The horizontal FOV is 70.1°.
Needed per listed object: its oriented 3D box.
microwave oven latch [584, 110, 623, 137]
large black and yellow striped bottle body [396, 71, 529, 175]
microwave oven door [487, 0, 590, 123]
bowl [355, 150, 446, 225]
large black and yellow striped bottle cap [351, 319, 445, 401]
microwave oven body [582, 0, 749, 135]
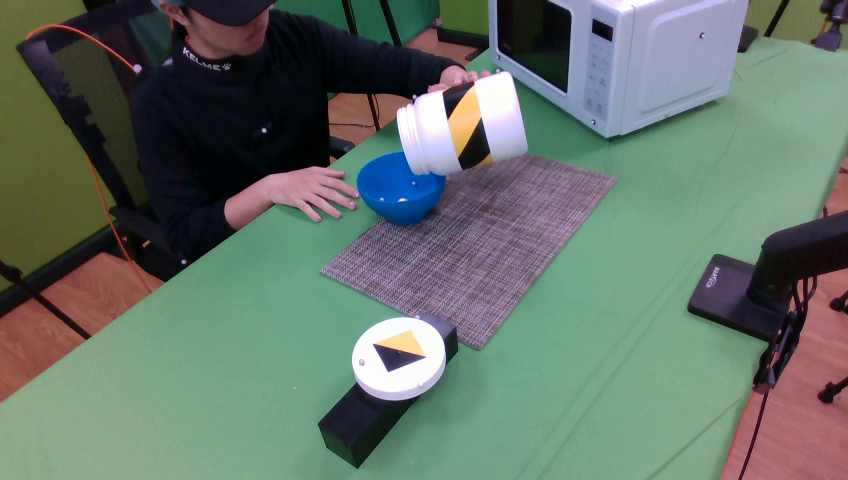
[{"bbox_3d":[0.337,-0.222,1.142,0.030,0.029,0.078,-21,42,-14],"label":"microwave oven latch"},{"bbox_3d":[0.060,-0.176,0.942,0.184,0.131,0.130,-14,39,9],"label":"large black and yellow striped bottle body"},{"bbox_3d":[0.232,-0.420,1.230,0.039,0.245,0.352,-22,43,-16],"label":"microwave oven door"},{"bbox_3d":[-0.035,-0.078,1.017,0.151,0.077,0.150,-4,40,3],"label":"bowl"},{"bbox_3d":[-0.031,0.143,0.735,0.115,0.019,0.114,-3,40,3],"label":"large black and yellow striped bottle cap"},{"bbox_3d":[0.382,-0.444,1.246,0.327,0.261,0.437,-22,42,-16],"label":"microwave oven body"}]
